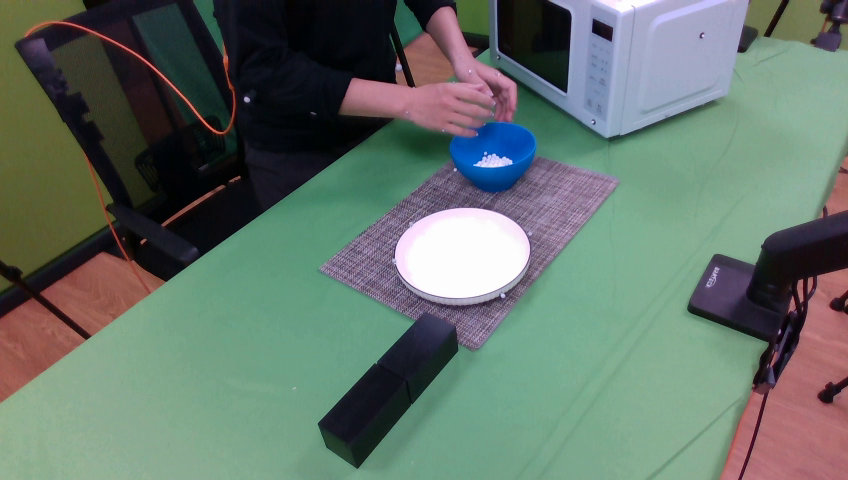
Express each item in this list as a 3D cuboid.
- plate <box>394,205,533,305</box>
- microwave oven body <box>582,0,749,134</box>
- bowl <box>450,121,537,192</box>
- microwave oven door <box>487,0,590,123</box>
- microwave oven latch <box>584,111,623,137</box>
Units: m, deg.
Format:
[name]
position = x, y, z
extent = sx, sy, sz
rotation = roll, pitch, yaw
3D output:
[plate]
position = 0.059, 0.025, 0.915
extent = 0.207, 0.039, 0.206
rotation = -4, 41, 4
[microwave oven body]
position = 0.382, -0.444, 1.246
extent = 0.327, 0.261, 0.437
rotation = -22, 42, -16
[bowl]
position = 0.123, -0.138, 1.064
extent = 0.151, 0.077, 0.150
rotation = -4, 40, 4
[microwave oven door]
position = 0.232, -0.420, 1.231
extent = 0.039, 0.245, 0.352
rotation = -22, 43, -16
[microwave oven latch]
position = 0.337, -0.222, 1.142
extent = 0.030, 0.029, 0.078
rotation = -21, 42, -14
